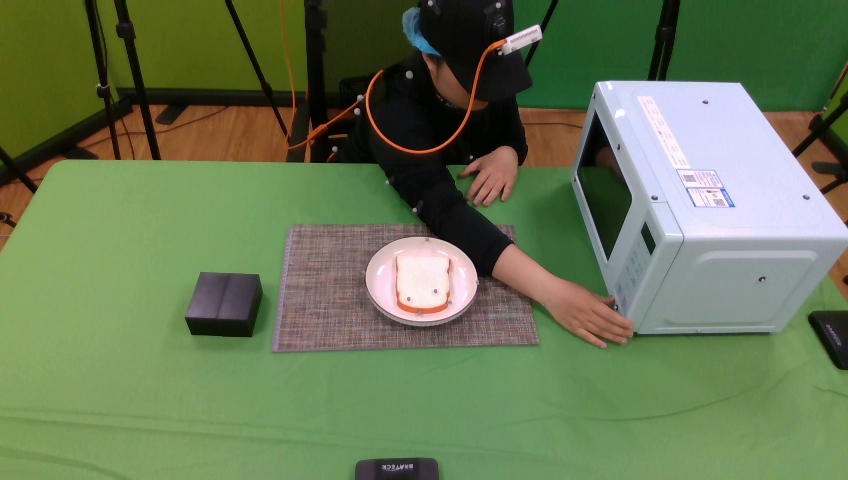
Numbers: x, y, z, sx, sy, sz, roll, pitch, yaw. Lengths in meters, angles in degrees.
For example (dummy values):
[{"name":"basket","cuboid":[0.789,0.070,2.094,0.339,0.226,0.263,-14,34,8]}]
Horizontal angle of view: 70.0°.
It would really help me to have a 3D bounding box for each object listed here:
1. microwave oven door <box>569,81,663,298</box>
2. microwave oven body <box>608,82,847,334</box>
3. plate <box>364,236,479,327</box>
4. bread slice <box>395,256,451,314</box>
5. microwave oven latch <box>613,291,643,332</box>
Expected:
[{"name":"microwave oven door","cuboid":[0.353,-0.103,1.147,0.039,0.245,0.353,-1,46,-4]},{"name":"microwave oven body","cuboid":[0.501,-0.069,1.132,0.326,0.261,0.438,-1,45,-4]},{"name":"plate","cuboid":[-0.004,0.078,1.107,0.209,0.038,0.208,2,46,-2]},{"name":"bread slice","cuboid":[-0.001,0.079,1.109,0.105,0.019,0.130,1,45,-2]},{"name":"microwave oven latch","cuboid":[0.358,0.125,1.068,0.030,0.029,0.078,1,45,-2]}]
